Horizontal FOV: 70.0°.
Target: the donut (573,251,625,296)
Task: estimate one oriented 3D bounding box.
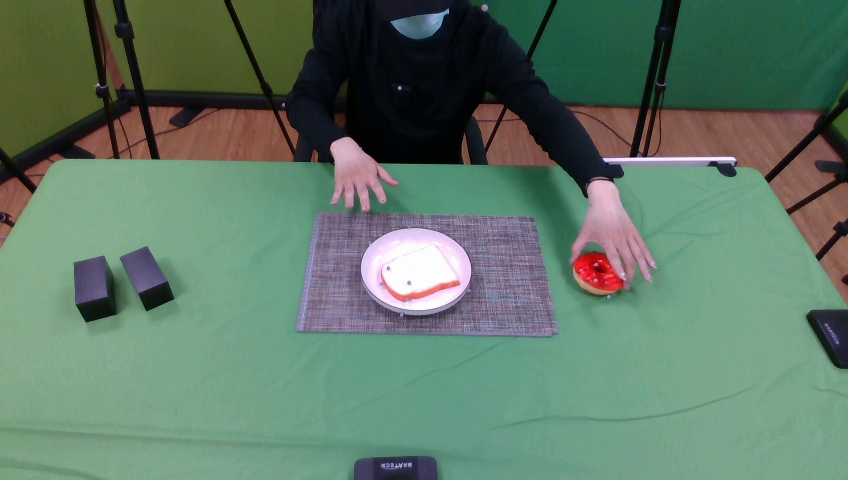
[{"bbox_3d":[0.332,0.063,1.149,0.099,0.048,0.098,4,45,-4],"label":"donut"}]

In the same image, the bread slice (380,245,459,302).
[{"bbox_3d":[-0.014,0.063,1.122,0.132,0.019,0.104,-18,49,-21],"label":"bread slice"}]

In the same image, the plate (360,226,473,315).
[{"bbox_3d":[-0.013,0.060,1.124,0.208,0.039,0.206,2,46,-2],"label":"plate"}]
